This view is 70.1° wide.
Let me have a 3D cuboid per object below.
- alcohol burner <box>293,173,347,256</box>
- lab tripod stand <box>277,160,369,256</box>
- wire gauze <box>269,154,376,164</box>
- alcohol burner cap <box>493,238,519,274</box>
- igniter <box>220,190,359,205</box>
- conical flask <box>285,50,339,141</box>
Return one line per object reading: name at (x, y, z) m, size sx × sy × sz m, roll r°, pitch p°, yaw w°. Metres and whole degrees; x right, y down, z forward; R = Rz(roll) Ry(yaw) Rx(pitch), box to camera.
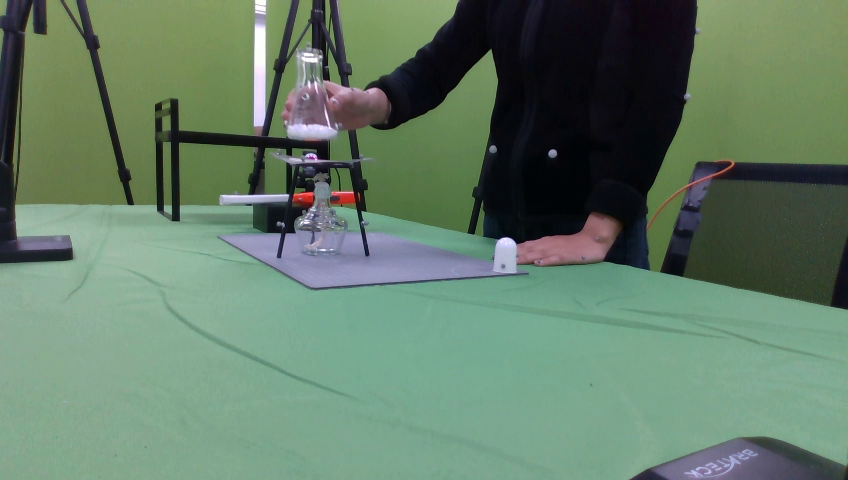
alcohol burner at (-0.148, -0.037, 0.868) m, size 0.078 × 0.119 × 0.078 m, roll 4°, pitch 8°, yaw 0°
lab tripod stand at (-0.149, -0.046, 0.861) m, size 0.148 × 0.131 × 0.148 m, roll 3°, pitch 9°, yaw 0°
wire gauze at (-0.146, -0.114, 0.860) m, size 0.122 × 0.011 × 0.124 m, roll -2°, pitch 9°, yaw -29°
alcohol burner cap at (0.107, 0.021, 0.785) m, size 0.034 × 0.048 × 0.034 m, roll 1°, pitch 7°, yaw 0°
igniter at (-0.246, -0.081, 1.158) m, size 0.278 × 0.025 × 0.057 m, roll -5°, pitch 7°, yaw -32°
conical flask at (-0.160, -0.202, 0.851) m, size 0.075 × 0.122 × 0.075 m, roll -1°, pitch 7°, yaw 0°
